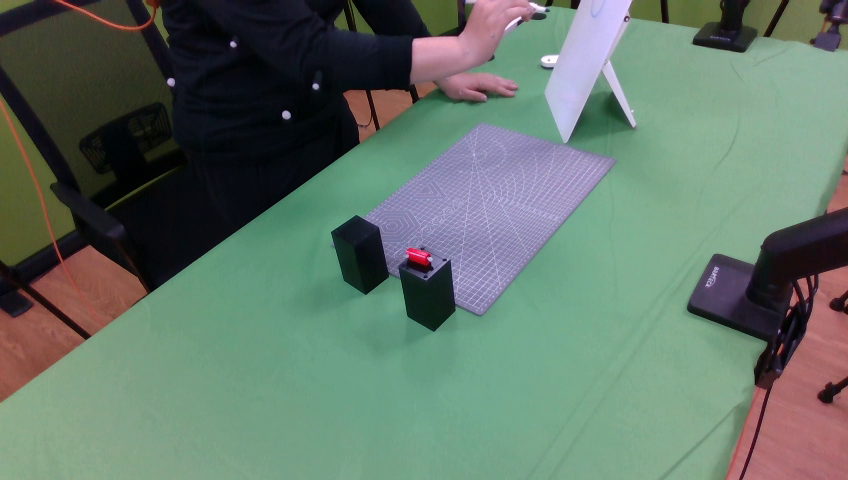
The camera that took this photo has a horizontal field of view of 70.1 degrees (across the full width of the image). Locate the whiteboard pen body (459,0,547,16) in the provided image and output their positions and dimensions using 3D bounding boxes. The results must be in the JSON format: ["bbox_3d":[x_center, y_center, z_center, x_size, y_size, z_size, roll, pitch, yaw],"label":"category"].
[{"bbox_3d":[0.126,-0.368,0.953,0.141,0.017,0.017,8,41,-3],"label":"whiteboard pen body"}]

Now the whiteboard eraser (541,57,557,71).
[{"bbox_3d":[0.323,-0.412,1.407,0.101,0.019,0.041,1,42,11],"label":"whiteboard eraser"}]

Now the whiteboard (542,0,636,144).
[{"bbox_3d":[0.366,-0.351,1.160,0.144,0.305,0.216,10,39,-10],"label":"whiteboard"}]

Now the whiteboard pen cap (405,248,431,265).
[{"bbox_3d":[-0.009,0.021,0.794,0.032,0.017,0.017,16,46,28],"label":"whiteboard pen cap"}]
